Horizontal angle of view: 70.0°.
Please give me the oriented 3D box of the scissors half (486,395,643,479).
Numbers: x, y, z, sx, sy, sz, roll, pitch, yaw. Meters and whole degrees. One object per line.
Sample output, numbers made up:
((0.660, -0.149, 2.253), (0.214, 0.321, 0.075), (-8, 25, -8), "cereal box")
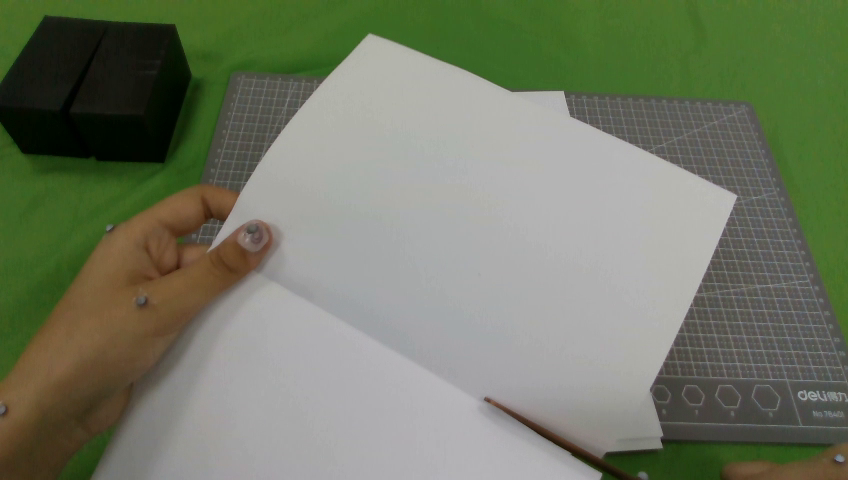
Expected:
((0.104, 0.113, 0.271), (0.175, 0.040, 0.013), (30, 81, -2), "scissors half")

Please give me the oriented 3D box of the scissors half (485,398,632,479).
((0.103, 0.108, 0.250), (0.174, 0.040, 0.013), (25, 75, 20), "scissors half")
